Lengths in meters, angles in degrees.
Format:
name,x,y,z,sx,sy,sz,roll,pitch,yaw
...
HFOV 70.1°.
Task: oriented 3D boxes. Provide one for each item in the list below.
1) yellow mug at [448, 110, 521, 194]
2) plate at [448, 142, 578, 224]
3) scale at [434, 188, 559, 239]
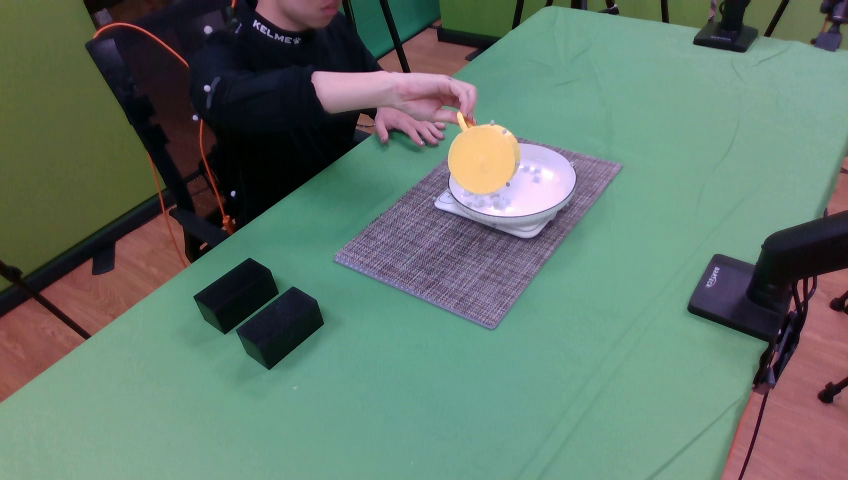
name,x,y,z,sx,sy,sz,roll,pitch,yaw
yellow mug,0.084,-0.137,0.904,0.099,0.131,0.064,-28,5,19
plate,0.145,-0.089,0.989,0.209,0.038,0.208,-4,41,4
scale,0.132,-0.074,1.025,0.199,0.032,0.149,22,49,30
